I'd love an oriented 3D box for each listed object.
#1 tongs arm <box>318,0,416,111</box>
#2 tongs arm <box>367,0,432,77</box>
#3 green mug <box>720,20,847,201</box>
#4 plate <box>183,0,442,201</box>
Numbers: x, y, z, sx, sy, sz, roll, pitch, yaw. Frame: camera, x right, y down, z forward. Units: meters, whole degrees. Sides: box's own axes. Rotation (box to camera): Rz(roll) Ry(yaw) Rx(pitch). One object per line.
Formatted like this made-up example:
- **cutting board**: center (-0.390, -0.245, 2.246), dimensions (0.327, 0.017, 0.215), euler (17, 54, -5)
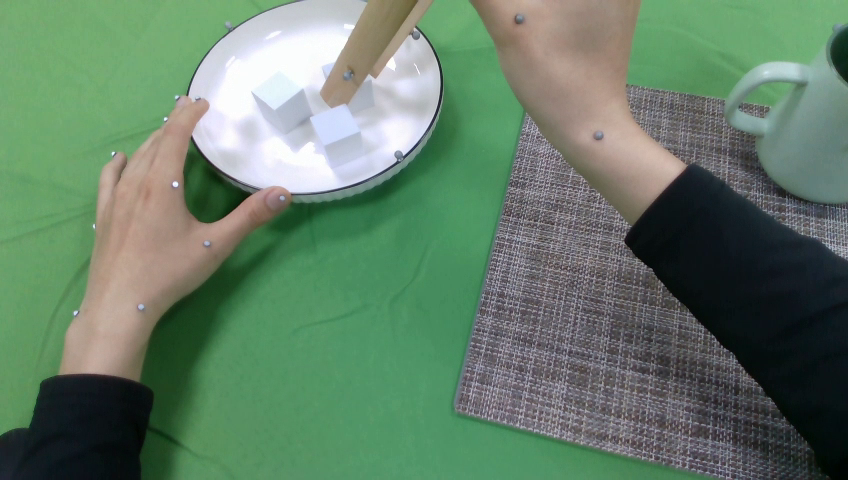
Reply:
- **tongs arm**: center (0.003, -0.157, 0.323), dimensions (0.028, 0.387, 0.028), euler (46, 63, -8)
- **tongs arm**: center (0.019, -0.178, 0.335), dimensions (0.026, 0.384, 0.050), euler (43, 61, -10)
- **green mug**: center (0.276, -0.090, 0.424), dimensions (0.125, 0.106, 0.092), euler (10, 64, 9)
- **plate**: center (-0.088, -0.116, 0.500), dimensions (0.209, 0.038, 0.207), euler (-1, 62, 2)
